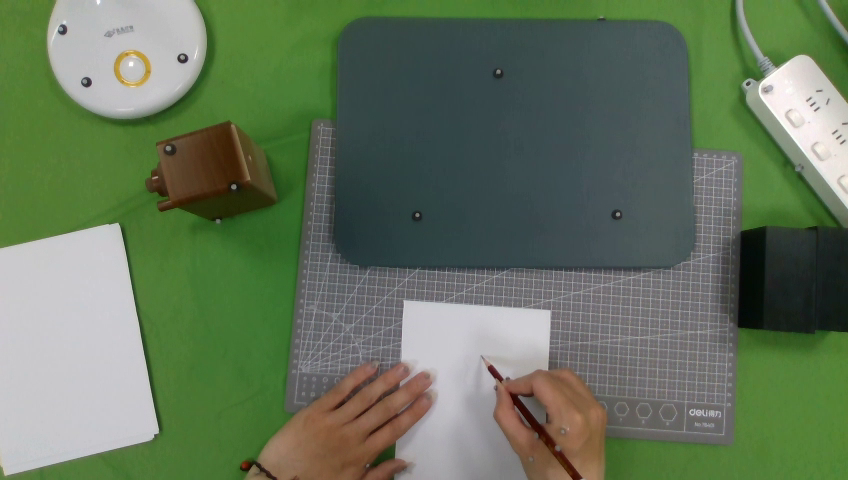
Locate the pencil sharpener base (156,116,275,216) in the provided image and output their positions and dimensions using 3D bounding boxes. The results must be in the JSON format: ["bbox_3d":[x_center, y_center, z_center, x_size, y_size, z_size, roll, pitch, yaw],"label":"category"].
[{"bbox_3d":[-0.194,-0.065,0.570,0.077,0.107,0.061,-17,86,-2],"label":"pencil sharpener base"}]

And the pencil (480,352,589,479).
[{"bbox_3d":[0.096,0.158,0.533,0.012,0.192,0.012,-13,123,-21],"label":"pencil"}]

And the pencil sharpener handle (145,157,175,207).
[{"bbox_3d":[-0.242,-0.048,0.556,0.030,0.068,0.036,-17,73,-2],"label":"pencil sharpener handle"}]

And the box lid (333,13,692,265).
[{"bbox_3d":[0.093,-0.105,0.627,0.372,0.015,0.262,0,85,-1],"label":"box lid"}]

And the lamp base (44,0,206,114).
[{"bbox_3d":[-0.309,-0.225,0.544,0.160,0.180,0.178,-27,83,-3],"label":"lamp base"}]

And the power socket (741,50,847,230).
[{"bbox_3d":[0.421,-0.094,0.622,0.072,0.032,0.226,-36,86,-4],"label":"power socket"}]
